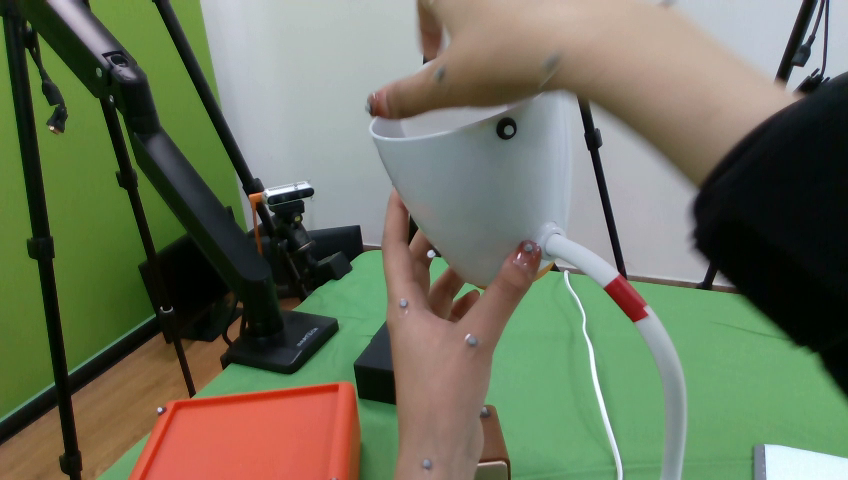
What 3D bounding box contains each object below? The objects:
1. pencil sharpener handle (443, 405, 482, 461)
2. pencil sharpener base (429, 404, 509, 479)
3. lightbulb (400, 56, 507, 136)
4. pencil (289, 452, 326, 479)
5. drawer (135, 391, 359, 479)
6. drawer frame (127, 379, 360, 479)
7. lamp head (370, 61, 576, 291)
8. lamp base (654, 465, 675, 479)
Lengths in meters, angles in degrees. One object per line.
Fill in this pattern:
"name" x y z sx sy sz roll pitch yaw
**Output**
"pencil sharpener handle" 0.034 0.177 0.576 0.036 0.068 0.030 -1 25 -4
"pencil sharpener base" 0.040 0.209 0.535 0.061 0.108 0.076 -6 25 -1
"lightbulb" 0.026 -0.051 0.348 0.059 0.108 0.059 -22 24 10
"pencil" -0.160 0.250 0.523 0.194 0.012 0.012 -37 38 -30
"drawer" -0.163 0.234 0.550 0.194 0.074 0.210 -6 24 -1
"drawer frame" -0.164 0.232 0.552 0.202 0.083 0.212 -7 24 -2
"lamp head" 0.041 -0.031 0.355 0.112 0.124 0.111 -19 21 8
"lamp base" 0.152 0.240 0.355 0.161 0.181 0.178 -8 21 -4
